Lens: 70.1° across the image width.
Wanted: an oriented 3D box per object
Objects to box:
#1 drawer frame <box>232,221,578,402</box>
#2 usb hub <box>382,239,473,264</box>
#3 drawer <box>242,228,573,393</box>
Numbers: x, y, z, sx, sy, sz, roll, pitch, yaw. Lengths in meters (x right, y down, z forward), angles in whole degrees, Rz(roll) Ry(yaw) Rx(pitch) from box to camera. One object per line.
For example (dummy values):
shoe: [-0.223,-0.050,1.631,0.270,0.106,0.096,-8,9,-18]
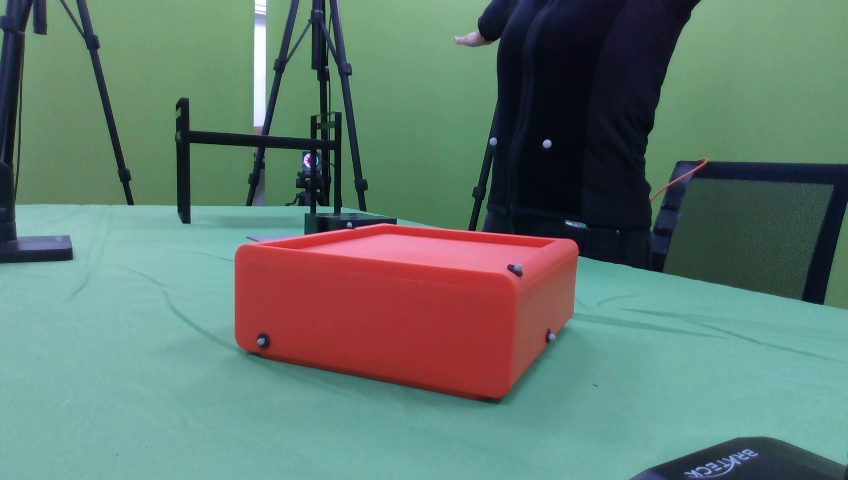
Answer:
drawer frame: [0.001,0.038,0.475,0.201,0.082,0.214,6,9,22]
usb hub: [0.006,0.015,0.853,0.126,0.025,0.049,-3,9,-36]
drawer: [0.001,0.041,0.477,0.194,0.073,0.212,6,9,22]
